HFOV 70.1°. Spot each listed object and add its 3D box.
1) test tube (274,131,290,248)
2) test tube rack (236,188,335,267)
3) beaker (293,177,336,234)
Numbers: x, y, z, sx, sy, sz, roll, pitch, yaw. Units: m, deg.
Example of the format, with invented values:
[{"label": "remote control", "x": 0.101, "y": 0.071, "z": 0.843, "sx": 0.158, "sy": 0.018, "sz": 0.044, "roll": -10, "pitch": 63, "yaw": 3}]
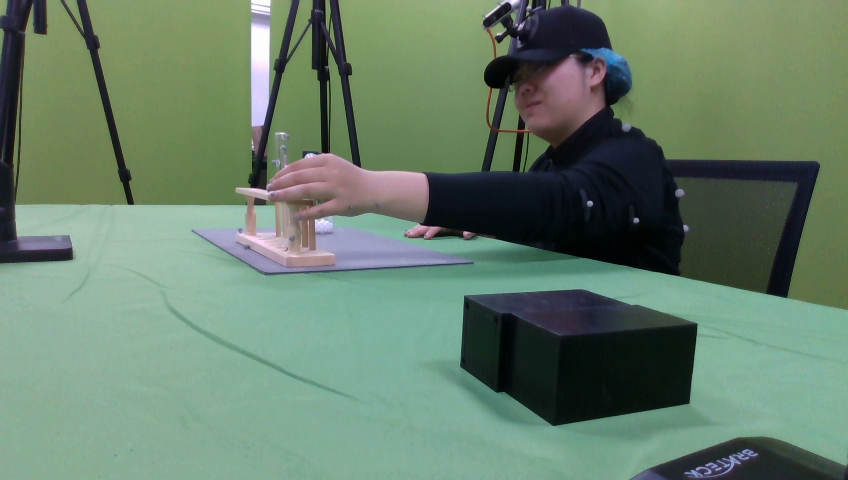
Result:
[{"label": "test tube", "x": -0.181, "y": -0.064, "z": 0.779, "sx": 0.017, "sy": 0.150, "sz": 0.017, "roll": -1, "pitch": 7, "yaw": 0}, {"label": "test tube rack", "x": -0.202, "y": -0.025, "z": 0.855, "sx": 0.067, "sy": 0.085, "sz": 0.241, "roll": -2, "pitch": 9, "yaw": -31}, {"label": "beaker", "x": -0.198, "y": -0.063, "z": 1.107, "sx": 0.083, "sy": 0.100, "sz": 0.074, "roll": 10, "pitch": 11, "yaw": 40}]
